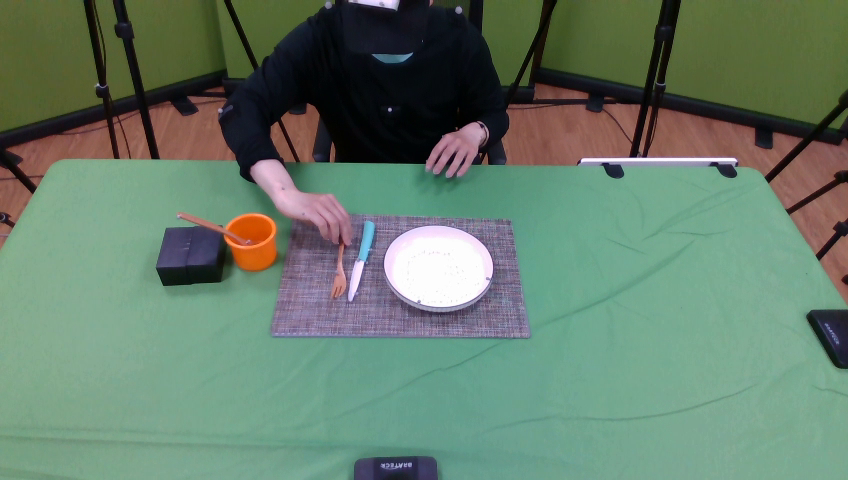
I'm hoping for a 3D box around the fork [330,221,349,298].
[{"bbox_3d":[-0.157,0.033,1.149,0.028,0.019,0.206,-16,44,15],"label":"fork"}]

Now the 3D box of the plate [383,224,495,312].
[{"bbox_3d":[0.026,0.055,1.128,0.209,0.038,0.208,2,46,-2],"label":"plate"}]

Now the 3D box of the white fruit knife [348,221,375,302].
[{"bbox_3d":[-0.119,0.037,1.152,0.027,0.016,0.206,-14,43,24],"label":"white fruit knife"}]

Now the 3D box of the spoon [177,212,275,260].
[{"bbox_3d":[-0.353,-0.009,1.092,0.021,0.195,0.041,-36,43,24],"label":"spoon"}]
